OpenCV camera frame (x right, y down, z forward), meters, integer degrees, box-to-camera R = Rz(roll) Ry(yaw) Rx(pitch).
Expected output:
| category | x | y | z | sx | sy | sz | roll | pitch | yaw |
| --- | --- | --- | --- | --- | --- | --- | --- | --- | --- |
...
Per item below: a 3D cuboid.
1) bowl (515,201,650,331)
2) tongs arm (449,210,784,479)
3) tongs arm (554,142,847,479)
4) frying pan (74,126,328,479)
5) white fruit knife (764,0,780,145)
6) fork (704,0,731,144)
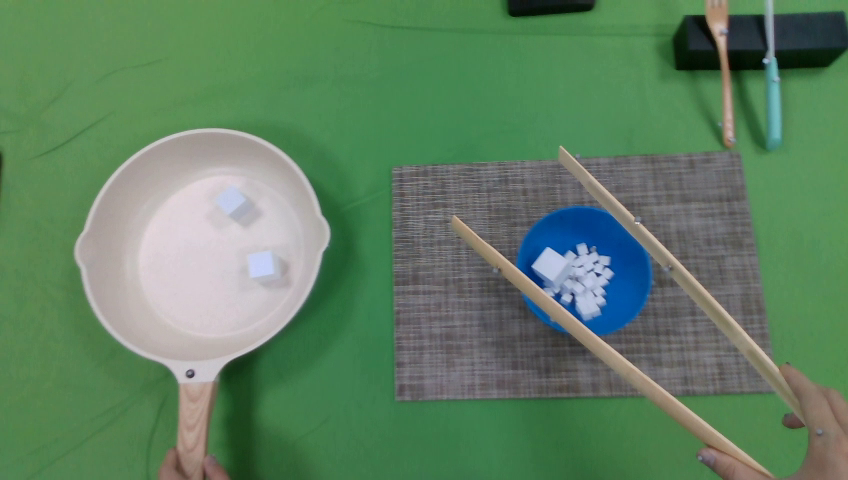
| category | x | y | z | sx | sy | sz | roll | pitch | yaw |
| --- | --- | --- | --- | --- | --- | --- | --- | --- | --- |
| bowl | 0.179 | 0.037 | 0.714 | 0.151 | 0.077 | 0.150 | -1 | 77 | 3 |
| tongs arm | 0.161 | 0.087 | 0.518 | 0.028 | 0.028 | 0.384 | -38 | 63 | -24 |
| tongs arm | 0.223 | 0.047 | 0.539 | 0.051 | 0.027 | 0.381 | -29 | 61 | -16 |
| frying pan | -0.261 | 0.101 | 0.711 | 0.307 | 0.103 | 0.484 | -3 | 68 | 3 |
| white fruit knife | 0.434 | -0.224 | 0.762 | 0.016 | 0.027 | 0.207 | -3 | 93 | 8 |
| fork | 0.375 | -0.226 | 0.766 | 0.028 | 0.018 | 0.207 | -9 | 97 | -4 |
